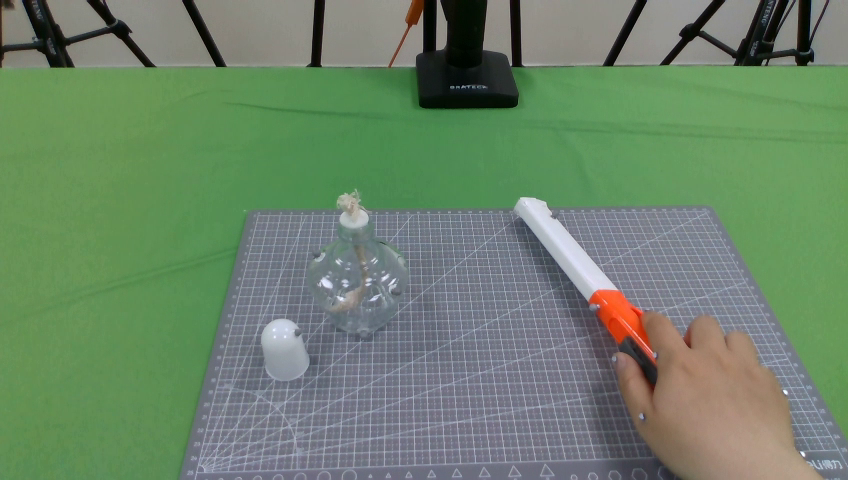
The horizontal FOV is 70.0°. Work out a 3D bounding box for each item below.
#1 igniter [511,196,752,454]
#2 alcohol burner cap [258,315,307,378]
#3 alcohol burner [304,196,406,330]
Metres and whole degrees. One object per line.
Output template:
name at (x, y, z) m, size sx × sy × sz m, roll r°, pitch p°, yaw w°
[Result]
igniter at (0.149, 0.051, 0.481) m, size 0.057 × 0.025 × 0.273 m, roll 5°, pitch 36°, yaw -33°
alcohol burner cap at (-0.104, 0.074, 0.439) m, size 0.034 × 0.048 × 0.033 m, roll 2°, pitch 44°, yaw -1°
alcohol burner at (-0.052, 0.013, 0.453) m, size 0.078 × 0.120 × 0.077 m, roll 3°, pitch 45°, yaw -2°
